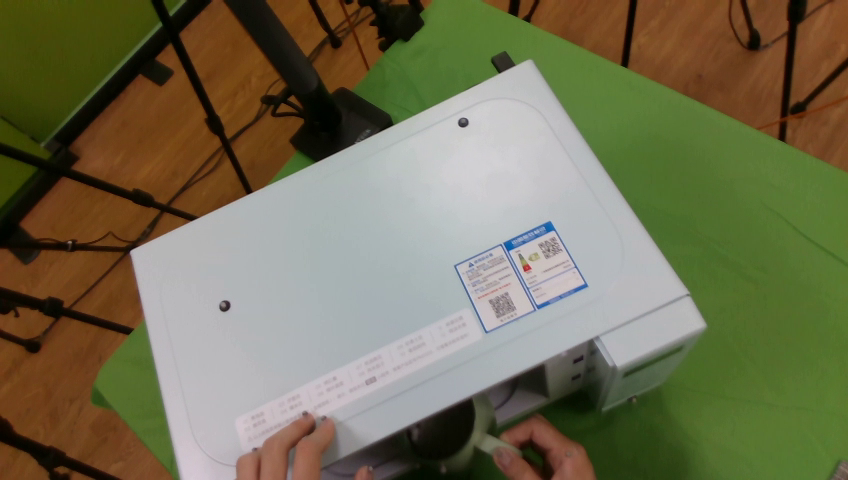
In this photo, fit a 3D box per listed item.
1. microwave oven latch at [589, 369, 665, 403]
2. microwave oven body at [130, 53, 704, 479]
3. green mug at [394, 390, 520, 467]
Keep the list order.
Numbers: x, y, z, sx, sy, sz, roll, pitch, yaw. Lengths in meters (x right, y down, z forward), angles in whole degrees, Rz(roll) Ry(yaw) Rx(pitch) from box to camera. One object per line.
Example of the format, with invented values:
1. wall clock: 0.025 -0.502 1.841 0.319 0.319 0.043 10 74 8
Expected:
1. microwave oven latch: 0.222 0.150 0.664 0.079 0.030 0.030 -24 65 2
2. microwave oven body: -0.014 0.069 0.642 0.442 0.262 0.323 -26 65 1
3. green mug: 0.033 0.177 0.583 0.124 0.106 0.092 20 75 19
